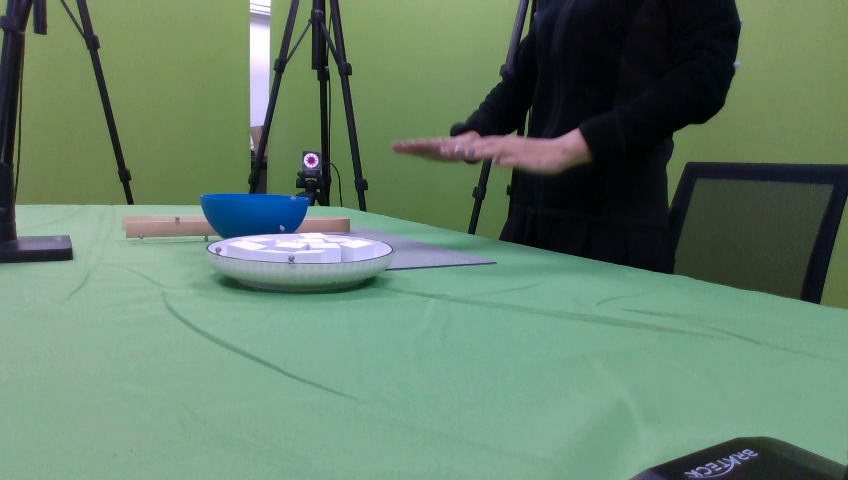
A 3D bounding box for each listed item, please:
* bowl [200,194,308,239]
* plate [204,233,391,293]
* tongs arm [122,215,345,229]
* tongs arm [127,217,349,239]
[{"bbox_3d":[-0.245,-0.025,0.879,0.151,0.077,0.151,2,7,0],"label":"bowl"},{"bbox_3d":[-0.143,0.025,0.697,0.208,0.039,0.207,3,9,0],"label":"plate"},{"bbox_3d":[-0.336,-0.032,1.103,0.389,0.027,0.028,0,1,-19],"label":"tongs arm"},{"bbox_3d":[-0.294,-0.023,1.027,0.387,0.026,0.050,-3,5,-34],"label":"tongs arm"}]
